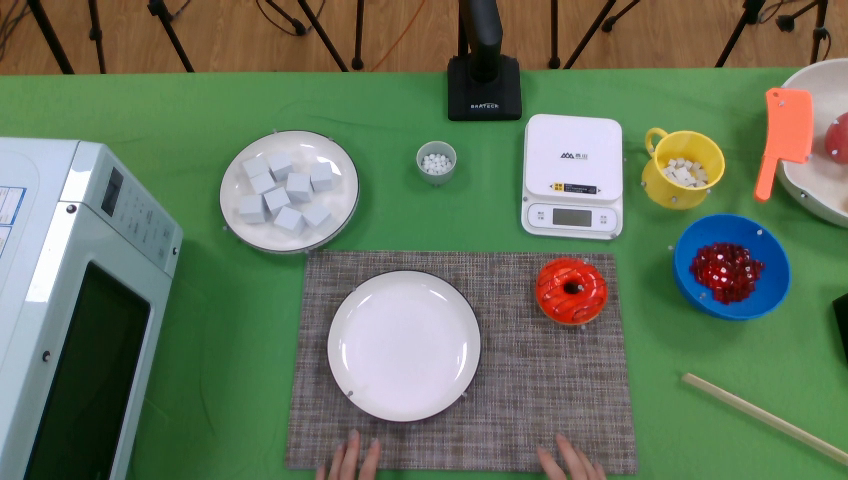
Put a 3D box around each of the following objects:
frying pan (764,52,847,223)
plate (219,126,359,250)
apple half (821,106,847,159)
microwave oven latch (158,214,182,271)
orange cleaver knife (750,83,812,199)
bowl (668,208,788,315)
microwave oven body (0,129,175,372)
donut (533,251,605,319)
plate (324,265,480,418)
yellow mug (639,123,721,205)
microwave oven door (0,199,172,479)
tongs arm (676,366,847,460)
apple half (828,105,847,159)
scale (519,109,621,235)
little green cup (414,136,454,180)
[{"bbox_3d":[0.693,-0.066,0.855,0.307,0.103,0.483,-25,61,-8],"label":"frying pan"},{"bbox_3d":[-0.200,-0.076,0.916,0.208,0.039,0.206,0,67,1],"label":"plate"},{"bbox_3d":[0.618,-0.156,0.905,0.033,0.082,0.080,-7,67,-5],"label":"apple half"},{"bbox_3d":[-0.369,0.002,0.866,0.030,0.030,0.078,5,68,3],"label":"microwave oven latch"},{"bbox_3d":[0.516,-0.146,0.873,0.077,0.012,0.210,18,69,9],"label":"orange cleaver knife"},{"bbox_3d":[0.403,0.039,0.832,0.151,0.077,0.150,0,68,2],"label":"bowl"},{"bbox_3d":[-0.532,0.119,0.716,0.326,0.262,0.438,3,68,2],"label":"microwave oven body"},{"bbox_3d":[0.200,0.062,0.841,0.099,0.048,0.098,-1,68,3],"label":"donut"},{"bbox_3d":[-0.029,0.135,0.819,0.209,0.038,0.207,-1,68,2],"label":"plate"},{"bbox_3d":[0.371,-0.123,0.907,0.100,0.064,0.130,-30,69,-10],"label":"yellow mug"},{"bbox_3d":[-0.389,0.163,0.689,0.039,0.245,0.353,3,67,3],"label":"microwave oven door"},{"bbox_3d":[0.502,0.263,0.762,0.386,0.028,0.028,29,63,13],"label":"tongs arm"},{"bbox_3d":[0.656,-0.162,0.907,0.053,0.075,0.080,-7,63,-5],"label":"apple half"},{"bbox_3d":[0.223,-0.106,0.922,0.148,0.032,0.199,4,68,4],"label":"scale"},{"bbox_3d":[0.016,-0.124,0.931,0.061,0.039,0.061,-1,67,2],"label":"little green cup"}]
